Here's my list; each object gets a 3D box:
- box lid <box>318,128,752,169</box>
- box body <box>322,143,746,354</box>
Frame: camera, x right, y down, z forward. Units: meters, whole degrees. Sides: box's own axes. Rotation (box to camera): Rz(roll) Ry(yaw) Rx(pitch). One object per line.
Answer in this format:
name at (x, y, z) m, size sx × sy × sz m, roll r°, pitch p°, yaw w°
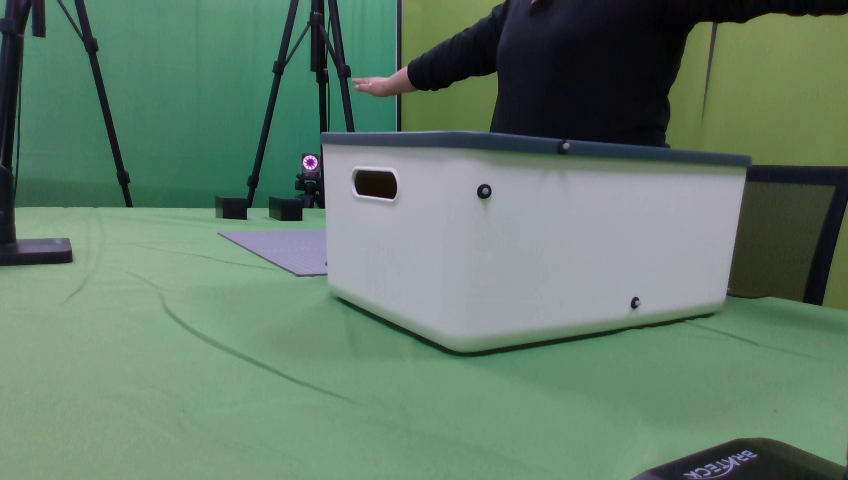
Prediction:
box lid at (0.107, -0.085, 0.594) m, size 0.373 × 0.015 × 0.262 m, roll -1°, pitch 8°, yaw -34°
box body at (0.106, -0.011, 0.603) m, size 0.366 × 0.160 × 0.253 m, roll -2°, pitch 8°, yaw -34°
